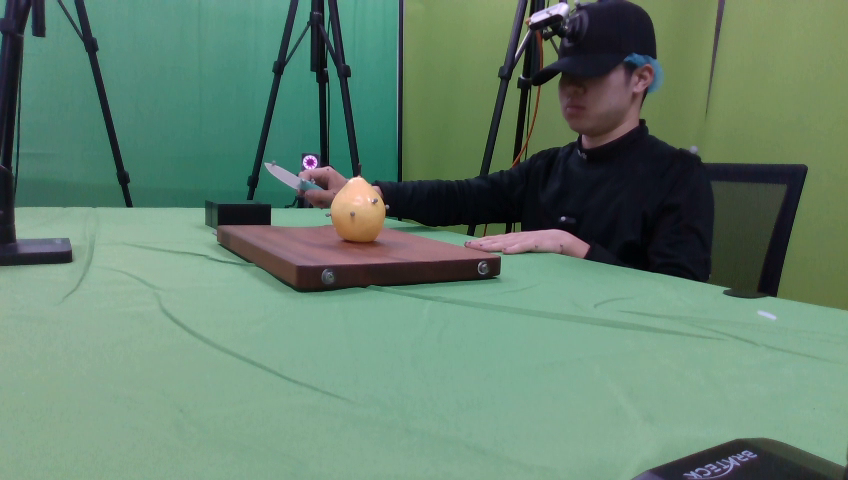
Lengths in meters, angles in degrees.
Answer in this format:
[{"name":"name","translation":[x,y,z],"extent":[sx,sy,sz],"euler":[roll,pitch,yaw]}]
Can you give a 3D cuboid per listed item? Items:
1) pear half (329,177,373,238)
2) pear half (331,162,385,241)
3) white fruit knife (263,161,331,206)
[{"name":"pear half","translation":[-0.109,-0.047,0.866],"extent":[0.031,0.088,0.071],"euler":[8,12,43]},{"name":"pear half","translation":[-0.085,-0.052,0.839],"extent":[0.055,0.110,0.077],"euler":[10,14,42]},{"name":"white fruit knife","translation":[-0.229,-0.105,1.116],"extent":[0.016,0.027,0.208],"euler":[39,3,28]}]
